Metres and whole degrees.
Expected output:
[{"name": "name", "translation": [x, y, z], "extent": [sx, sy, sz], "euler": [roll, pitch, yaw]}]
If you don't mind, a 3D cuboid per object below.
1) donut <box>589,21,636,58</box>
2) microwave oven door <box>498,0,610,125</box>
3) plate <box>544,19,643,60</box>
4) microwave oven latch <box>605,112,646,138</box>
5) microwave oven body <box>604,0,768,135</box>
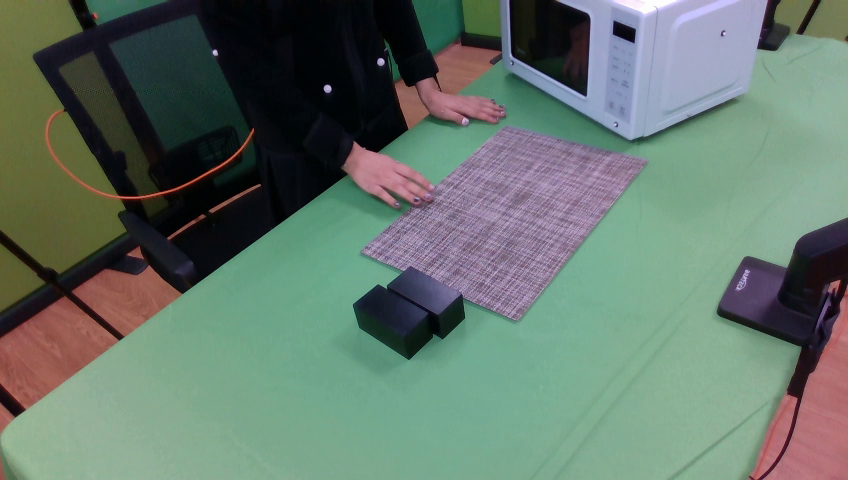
[{"name": "donut", "translation": [0.402, -0.429, 1.295], "extent": [0.099, 0.048, 0.098], "euler": [2, 54, -2]}, {"name": "microwave oven door", "translation": [0.261, -0.410, 1.219], "extent": [0.039, 0.245, 0.352], "euler": [-24, 42, -17]}, {"name": "plate", "translation": [0.359, -0.427, 1.292], "extent": [0.209, 0.038, 0.208], "euler": [0, 35, 0]}, {"name": "microwave oven latch", "translation": [0.375, -0.217, 1.130], "extent": [0.030, 0.029, 0.078], "euler": [-25, 42, -16]}, {"name": "microwave oven body", "translation": [0.411, -0.441, 1.235], "extent": [0.327, 0.261, 0.437], "euler": [-25, 42, -16]}]
